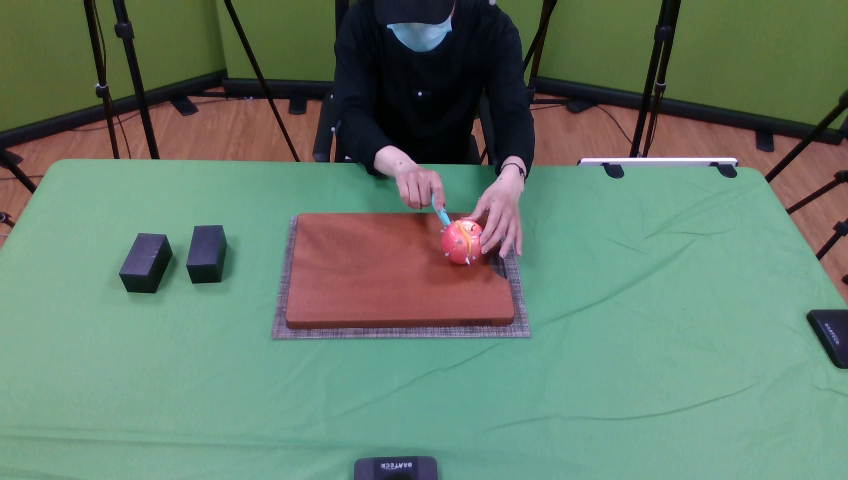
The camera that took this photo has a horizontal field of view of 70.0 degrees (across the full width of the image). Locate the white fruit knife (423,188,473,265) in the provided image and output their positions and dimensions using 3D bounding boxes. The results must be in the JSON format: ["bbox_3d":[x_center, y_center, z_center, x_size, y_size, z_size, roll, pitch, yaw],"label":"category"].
[{"bbox_3d":[0.045,-0.030,1.139,0.016,0.027,0.206,-17,53,-19],"label":"white fruit knife"}]

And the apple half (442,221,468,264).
[{"bbox_3d":[0.050,0.010,1.106,0.033,0.081,0.080,-12,48,-22],"label":"apple half"}]

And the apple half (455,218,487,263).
[{"bbox_3d":[0.087,0.002,1.124,0.053,0.075,0.080,-7,42,-27],"label":"apple half"}]
